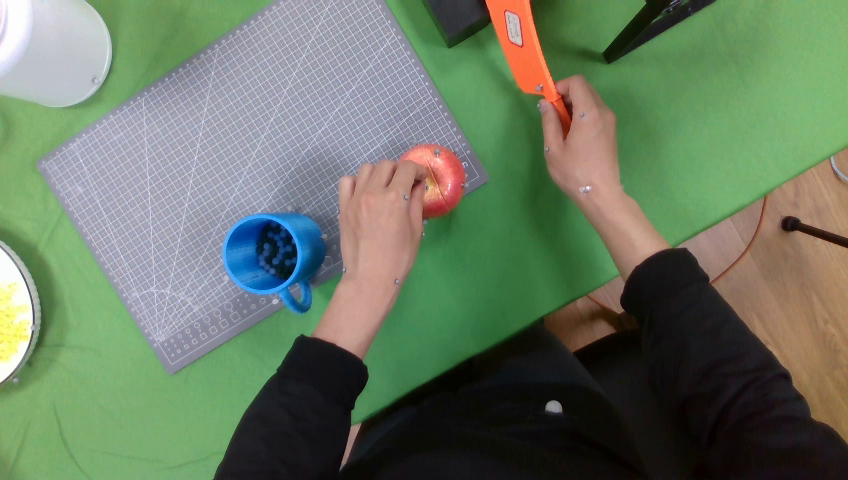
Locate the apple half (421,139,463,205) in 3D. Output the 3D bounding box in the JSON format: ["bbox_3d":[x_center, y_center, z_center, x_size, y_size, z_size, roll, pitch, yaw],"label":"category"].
[{"bbox_3d":[0.025,-0.079,0.658,0.033,0.081,0.081,-23,93,10],"label":"apple half"}]

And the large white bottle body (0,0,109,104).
[{"bbox_3d":[-0.433,-0.217,0.617,0.130,0.184,0.130,0,94,4],"label":"large white bottle body"}]

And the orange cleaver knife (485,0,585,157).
[{"bbox_3d":[0.112,-0.181,0.635,0.012,0.076,0.213,-36,115,-9],"label":"orange cleaver knife"}]

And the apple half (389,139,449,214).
[{"bbox_3d":[-0.010,-0.064,0.663,0.053,0.074,0.081,-23,97,9],"label":"apple half"}]

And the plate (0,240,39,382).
[{"bbox_3d":[-0.557,0.079,0.723,0.209,0.038,0.209,0,96,3],"label":"plate"}]

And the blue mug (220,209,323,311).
[{"bbox_3d":[-0.156,0.022,0.662,0.082,0.106,0.116,-23,93,5],"label":"blue mug"}]
